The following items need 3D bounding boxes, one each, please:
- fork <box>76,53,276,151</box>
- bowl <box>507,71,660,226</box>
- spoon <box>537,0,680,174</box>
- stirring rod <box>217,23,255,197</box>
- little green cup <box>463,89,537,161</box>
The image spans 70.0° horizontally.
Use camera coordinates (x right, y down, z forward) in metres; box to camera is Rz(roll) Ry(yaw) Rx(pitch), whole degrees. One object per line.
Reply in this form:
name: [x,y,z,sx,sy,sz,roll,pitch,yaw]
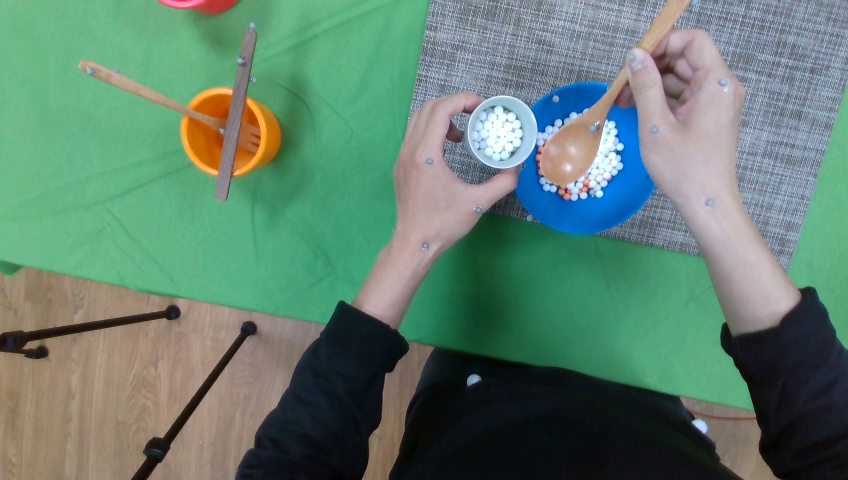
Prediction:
fork: [-0.245,-0.139,0.623,0.209,0.018,0.028,21,108,-44]
bowl: [0.160,-0.094,0.634,0.151,0.076,0.152,1,101,5]
spoon: [0.145,-0.127,0.448,0.041,0.021,0.194,40,129,10]
stirring rod: [-0.192,-0.131,0.618,0.014,0.006,0.176,13,101,3]
little green cup: [0.063,-0.098,0.527,0.062,0.038,0.061,-1,96,-10]
